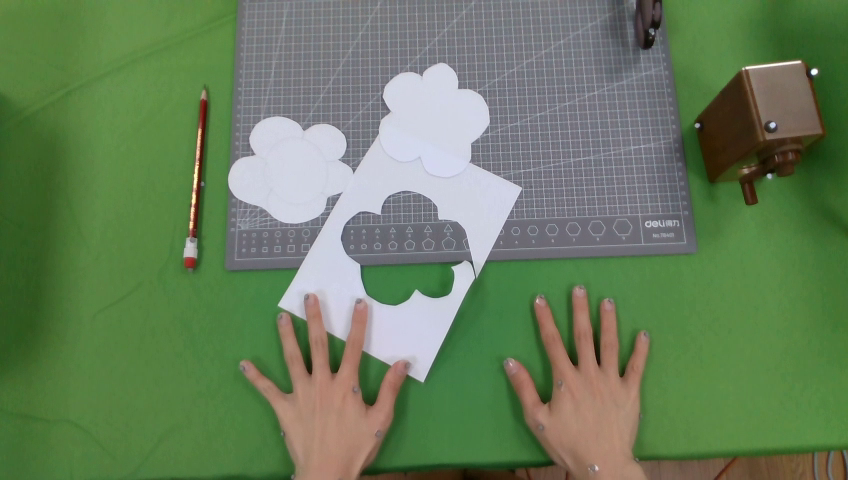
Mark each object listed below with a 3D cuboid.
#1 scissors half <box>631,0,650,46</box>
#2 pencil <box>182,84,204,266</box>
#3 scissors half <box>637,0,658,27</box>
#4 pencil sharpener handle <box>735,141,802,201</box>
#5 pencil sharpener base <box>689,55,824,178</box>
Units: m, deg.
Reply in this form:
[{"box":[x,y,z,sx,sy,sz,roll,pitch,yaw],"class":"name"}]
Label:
[{"box":[0.217,-0.281,0.619,0.013,0.040,0.174,-2,84,8],"class":"scissors half"},{"box":[-0.227,-0.069,0.602,0.012,0.012,0.193,-2,75,1],"class":"pencil"},{"box":[0.214,-0.286,0.600,0.013,0.040,0.174,-1,67,3],"class":"scissors half"},{"box":[0.300,-0.059,0.527,0.036,0.068,0.030,-4,76,-14],"class":"pencil sharpener handle"},{"box":[0.297,-0.105,0.551,0.061,0.107,0.076,-7,77,-1],"class":"pencil sharpener base"}]
